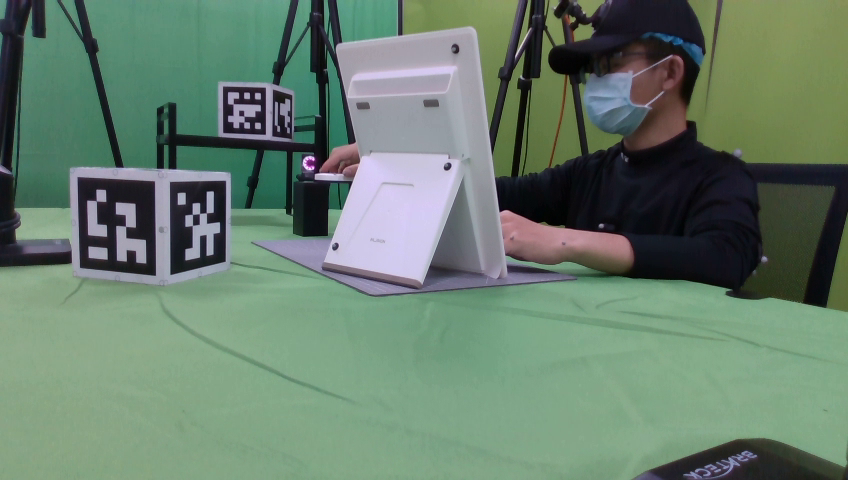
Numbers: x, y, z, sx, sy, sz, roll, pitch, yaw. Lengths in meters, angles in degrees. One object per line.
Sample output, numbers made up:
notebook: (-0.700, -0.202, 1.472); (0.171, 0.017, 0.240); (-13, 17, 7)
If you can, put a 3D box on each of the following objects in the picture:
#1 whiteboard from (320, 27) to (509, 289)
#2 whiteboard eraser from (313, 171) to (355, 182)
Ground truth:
whiteboard: (-0.045, -0.076, 0.721); (0.216, 0.305, 0.144); (9, 29, 39)
whiteboard eraser: (-0.163, -0.121, 1.158); (0.102, 0.019, 0.041); (0, 7, -34)
